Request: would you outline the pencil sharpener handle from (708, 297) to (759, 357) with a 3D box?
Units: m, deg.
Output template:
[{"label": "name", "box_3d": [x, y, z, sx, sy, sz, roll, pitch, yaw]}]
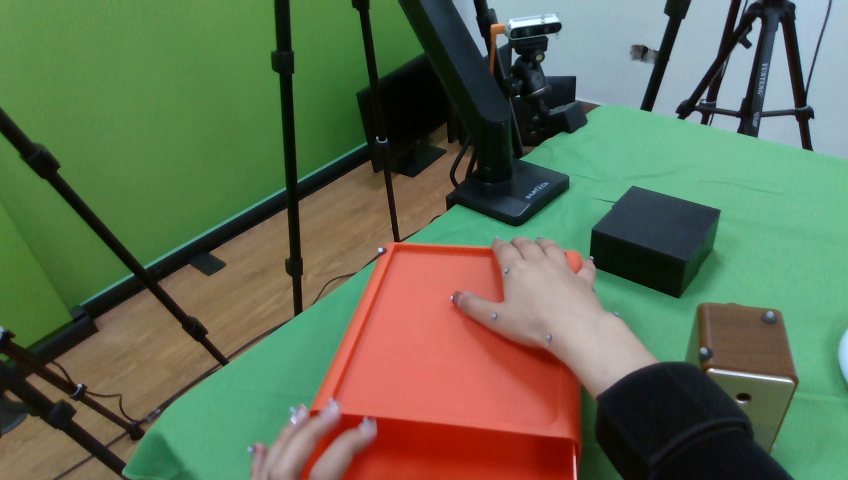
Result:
[{"label": "pencil sharpener handle", "box_3d": [0.246, 0.065, 0.493, 0.036, 0.068, 0.030, 10, 40, 13]}]

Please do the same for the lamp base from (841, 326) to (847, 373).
[{"label": "lamp base", "box_3d": [0.426, 0.040, 0.455, 0.160, 0.182, 0.178, 3, 36, 13]}]

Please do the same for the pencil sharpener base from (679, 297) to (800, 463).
[{"label": "pencil sharpener base", "box_3d": [0.234, 0.105, 0.462, 0.061, 0.108, 0.076, 5, 38, 17]}]

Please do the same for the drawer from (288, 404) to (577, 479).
[{"label": "drawer", "box_3d": [0.023, 0.133, 0.488, 0.194, 0.074, 0.210, 1, 36, 13]}]

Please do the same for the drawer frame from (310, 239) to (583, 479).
[{"label": "drawer frame", "box_3d": [0.035, 0.094, 0.531, 0.201, 0.083, 0.212, 1, 37, 13]}]
